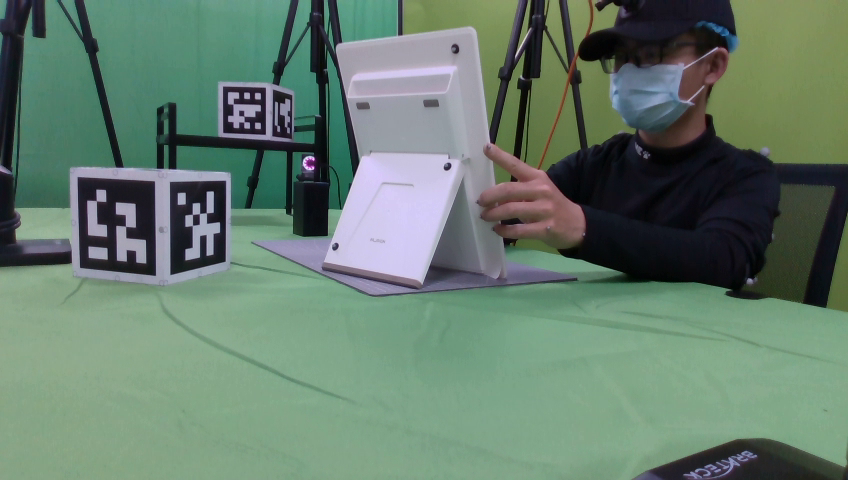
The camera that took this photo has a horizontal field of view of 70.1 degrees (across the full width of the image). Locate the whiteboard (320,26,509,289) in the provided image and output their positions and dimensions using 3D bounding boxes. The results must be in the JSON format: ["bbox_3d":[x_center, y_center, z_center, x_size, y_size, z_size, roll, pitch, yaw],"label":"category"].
[{"bbox_3d":[-0.046,-0.076,0.720,0.216,0.305,0.144,9,29,39],"label":"whiteboard"}]

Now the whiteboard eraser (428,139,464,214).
[{"bbox_3d":[0.028,-0.080,0.766,0.041,0.101,0.019,26,41,26],"label":"whiteboard eraser"}]
